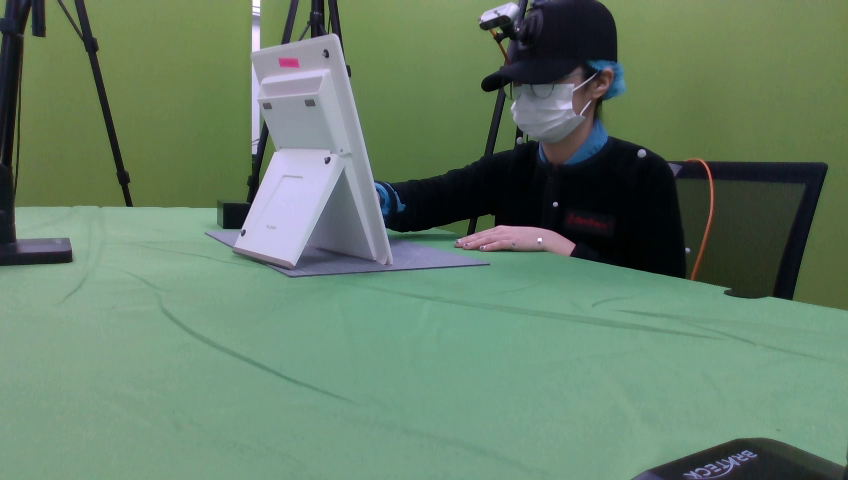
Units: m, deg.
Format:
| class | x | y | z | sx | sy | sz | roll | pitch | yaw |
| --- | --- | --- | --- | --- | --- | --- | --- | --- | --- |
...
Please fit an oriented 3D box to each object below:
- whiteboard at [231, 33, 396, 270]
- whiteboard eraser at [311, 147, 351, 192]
| class | x | y | z | sx | sy | sz | roll | pitch | yaw |
| --- | --- | --- | --- | --- | --- | --- | --- | --- | --- |
| whiteboard | -0.193 | -0.094 | 0.805 | 0.144 | 0.305 | 0.216 | -29 | 25 | -35 |
| whiteboard eraser | -0.133 | -0.099 | 0.858 | 0.019 | 0.041 | 0.101 | -27 | -2 | -34 |
